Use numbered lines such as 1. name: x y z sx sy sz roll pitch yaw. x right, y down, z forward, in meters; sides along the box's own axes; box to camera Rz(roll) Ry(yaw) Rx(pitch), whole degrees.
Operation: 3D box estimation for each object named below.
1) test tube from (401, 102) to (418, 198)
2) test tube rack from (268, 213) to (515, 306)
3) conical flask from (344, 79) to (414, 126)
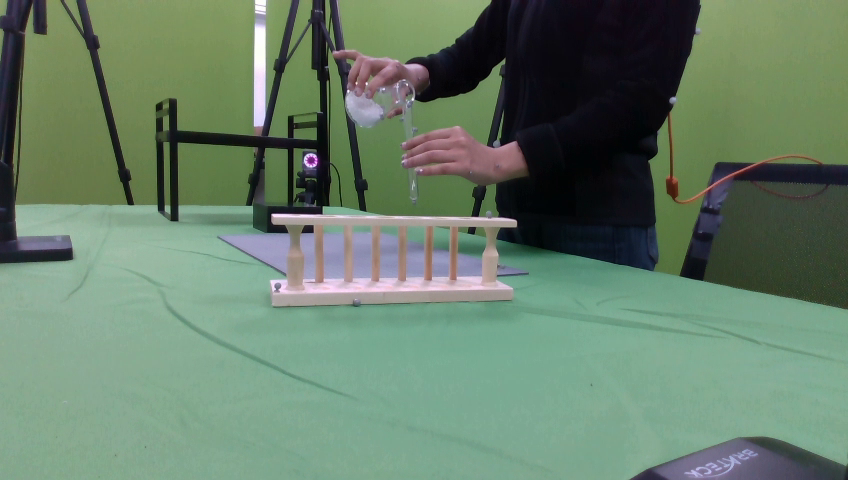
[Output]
1. test tube: -0.022 -0.138 0.925 0.017 0.150 0.017 -5 -6 0
2. test tube rack: -0.032 0.015 0.617 0.243 0.085 0.066 0 7 -17
3. conical flask: -0.069 -0.231 0.980 0.076 0.075 0.121 -5 2 -42
